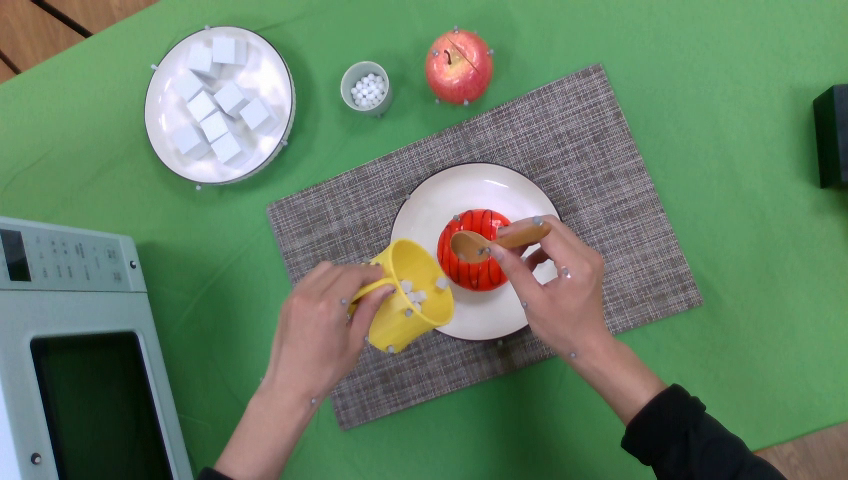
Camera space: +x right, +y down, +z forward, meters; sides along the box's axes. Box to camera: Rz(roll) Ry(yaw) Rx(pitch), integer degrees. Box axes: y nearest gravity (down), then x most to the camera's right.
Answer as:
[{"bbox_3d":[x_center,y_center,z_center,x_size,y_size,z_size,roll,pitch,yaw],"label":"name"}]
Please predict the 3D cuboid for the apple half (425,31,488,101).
[{"bbox_3d":[0.032,-0.196,0.715,0.053,0.075,0.080,-42,82,10],"label":"apple half"}]

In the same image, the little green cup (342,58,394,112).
[{"bbox_3d":[-0.067,-0.189,0.751,0.061,0.039,0.061,-1,85,12],"label":"little green cup"}]

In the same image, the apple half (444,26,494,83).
[{"bbox_3d":[0.060,-0.222,0.709,0.033,0.081,0.081,-42,79,9],"label":"apple half"}]

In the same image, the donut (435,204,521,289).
[{"bbox_3d":[0.062,0.007,0.696,0.099,0.048,0.099,0,88,12],"label":"donut"}]

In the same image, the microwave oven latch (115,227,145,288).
[{"bbox_3d":[-0.387,0.024,0.782,0.030,0.029,0.079,-16,83,9],"label":"microwave oven latch"}]

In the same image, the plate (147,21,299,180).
[{"bbox_3d":[-0.257,-0.178,0.789,0.207,0.039,0.207,-1,86,12],"label":"plate"}]

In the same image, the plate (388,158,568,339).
[{"bbox_3d":[0.062,0.009,0.707,0.209,0.038,0.208,-1,86,12],"label":"plate"}]

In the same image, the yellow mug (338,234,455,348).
[{"bbox_3d":[-0.032,0.051,0.599,0.064,0.131,0.099,-32,72,26],"label":"yellow mug"}]

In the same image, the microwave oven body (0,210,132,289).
[{"bbox_3d":[-0.493,0.229,0.691,0.326,0.261,0.440,-18,83,9],"label":"microwave oven body"}]

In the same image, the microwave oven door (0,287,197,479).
[{"bbox_3d":[-0.346,0.223,0.656,0.039,0.245,0.354,-19,82,10],"label":"microwave oven door"}]

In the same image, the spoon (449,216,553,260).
[{"bbox_3d":[0.065,-0.001,0.539,0.021,0.193,0.042,-45,99,-13],"label":"spoon"}]
